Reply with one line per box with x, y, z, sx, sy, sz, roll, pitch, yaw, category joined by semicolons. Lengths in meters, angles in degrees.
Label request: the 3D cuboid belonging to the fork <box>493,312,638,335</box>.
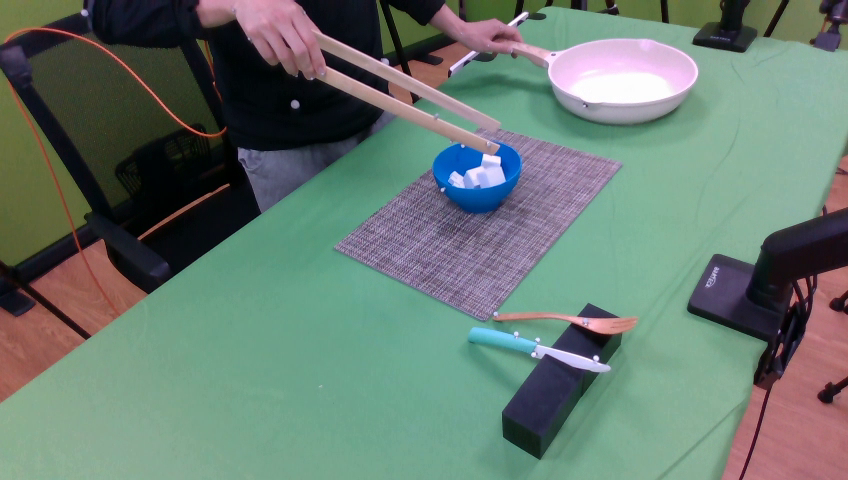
0.173;0.103;0.774;0.206;0.019;0.028;0;41;40;fork

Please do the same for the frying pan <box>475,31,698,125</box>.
0.320;-0.371;1.290;0.485;0.103;0.307;28;50;23;frying pan

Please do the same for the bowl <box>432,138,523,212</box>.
0.091;-0.100;1.021;0.151;0.077;0.150;-4;41;4;bowl

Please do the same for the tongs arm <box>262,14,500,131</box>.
-0.053;-0.242;0.899;0.390;0.027;0.028;20;56;-22;tongs arm

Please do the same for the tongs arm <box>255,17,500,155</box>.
-0.056;-0.215;0.880;0.387;0.026;0.050;19;53;-23;tongs arm

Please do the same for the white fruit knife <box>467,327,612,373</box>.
0.134;0.134;0.742;0.205;0.027;0.016;7;34;41;white fruit knife
